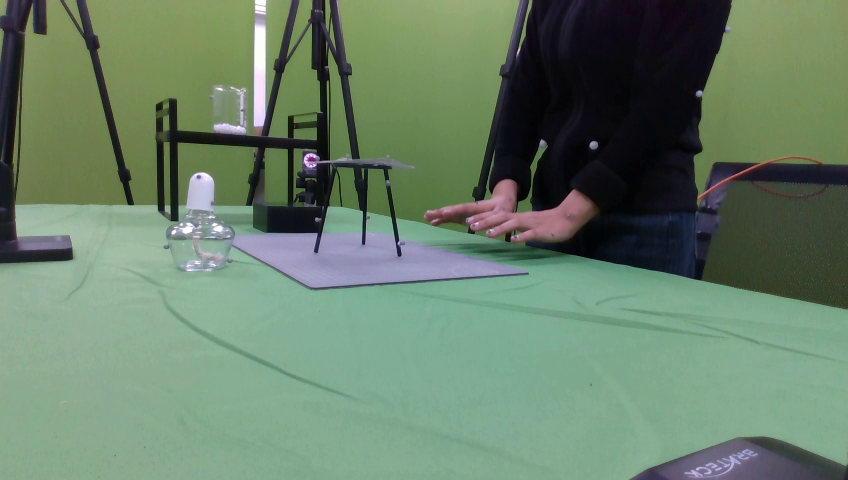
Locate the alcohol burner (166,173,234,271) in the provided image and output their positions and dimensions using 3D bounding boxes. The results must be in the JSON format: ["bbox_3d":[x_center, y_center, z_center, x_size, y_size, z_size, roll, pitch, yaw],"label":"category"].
[{"bbox_3d":[-0.271,-0.022,0.735,0.078,0.119,0.078,2,5,0],"label":"alcohol burner"}]

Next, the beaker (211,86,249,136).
[{"bbox_3d":[-0.413,-0.274,1.297,0.074,0.100,0.083,-5,11,-44],"label":"beaker"}]

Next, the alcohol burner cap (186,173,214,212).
[{"bbox_3d":[-0.268,-0.057,0.730,0.034,0.048,0.034,5,2,0],"label":"alcohol burner cap"}]

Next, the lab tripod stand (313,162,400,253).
[{"bbox_3d":[-0.097,-0.051,0.906,0.148,0.131,0.148,1,6,0],"label":"lab tripod stand"}]

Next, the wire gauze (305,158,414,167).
[{"bbox_3d":[-0.092,-0.117,0.894,0.121,0.011,0.125,4,7,19],"label":"wire gauze"}]
